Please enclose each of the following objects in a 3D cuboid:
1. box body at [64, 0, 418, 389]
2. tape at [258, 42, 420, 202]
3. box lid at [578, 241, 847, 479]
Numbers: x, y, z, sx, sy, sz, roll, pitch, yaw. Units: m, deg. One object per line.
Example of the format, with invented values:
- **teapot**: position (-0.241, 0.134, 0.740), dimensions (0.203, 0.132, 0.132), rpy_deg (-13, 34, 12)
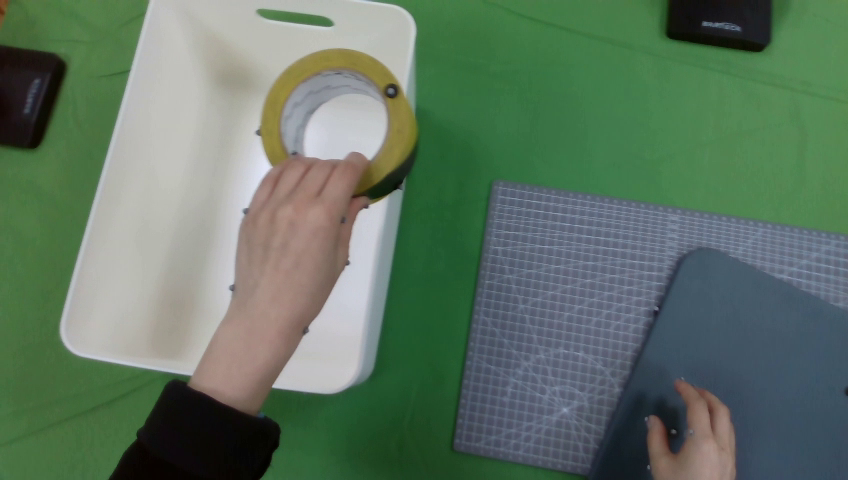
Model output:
- **box body**: position (-0.152, -0.049, 0.610), dimensions (0.254, 0.161, 0.362), rpy_deg (8, 77, 2)
- **tape**: position (-0.062, -0.086, 0.459), dimensions (0.117, 0.053, 0.116), rpy_deg (0, 87, 7)
- **box lid**: position (0.324, 0.205, 0.619), dimensions (0.263, 0.015, 0.370), rpy_deg (27, 79, 6)
